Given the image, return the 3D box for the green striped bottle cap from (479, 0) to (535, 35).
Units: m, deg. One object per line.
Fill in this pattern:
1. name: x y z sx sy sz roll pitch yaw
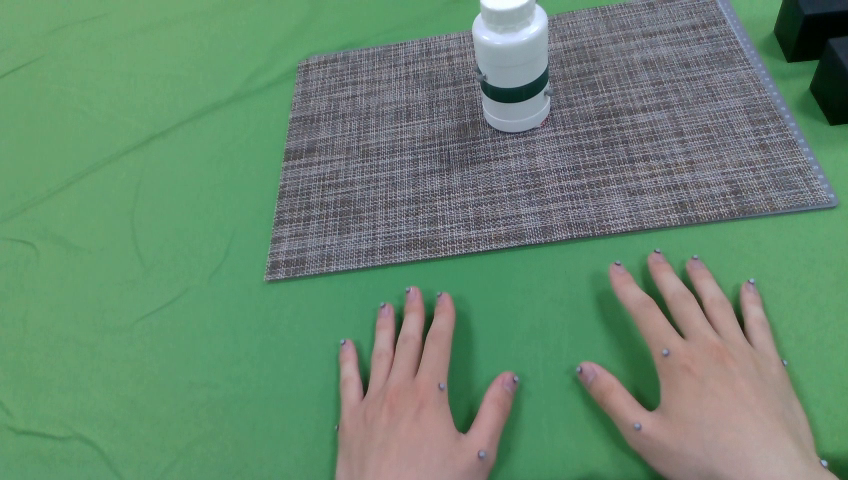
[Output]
1. green striped bottle cap: 0.067 -0.186 0.487 0.044 0.020 0.044 -8 52 10

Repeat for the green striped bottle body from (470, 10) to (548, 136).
1. green striped bottle body: 0.075 -0.155 0.529 0.063 0.120 0.062 -6 52 8
